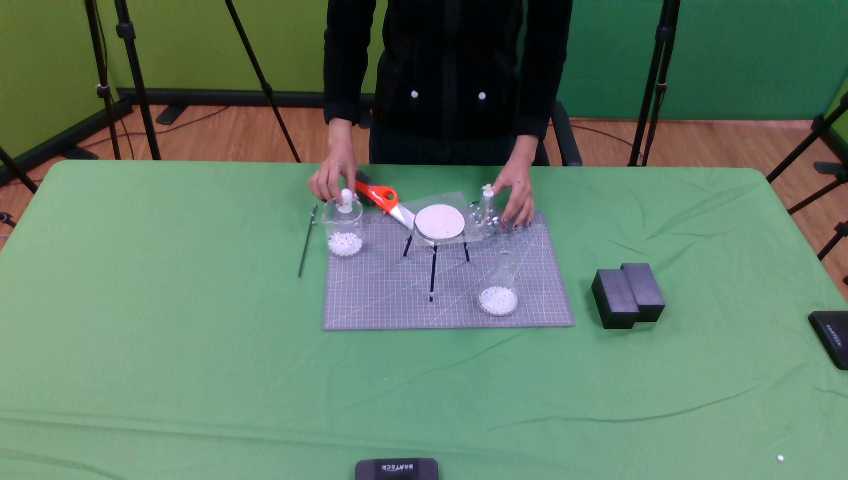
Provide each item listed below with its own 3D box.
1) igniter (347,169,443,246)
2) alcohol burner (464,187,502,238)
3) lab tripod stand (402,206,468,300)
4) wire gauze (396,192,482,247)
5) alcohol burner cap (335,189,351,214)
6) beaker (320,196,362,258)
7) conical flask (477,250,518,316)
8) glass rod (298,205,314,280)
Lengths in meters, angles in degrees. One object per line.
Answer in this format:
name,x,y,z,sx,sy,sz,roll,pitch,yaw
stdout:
igniter,-0.068,-0.071,1.258,0.275,0.025,0.057,37,70,28
alcohol burner,0.120,-0.061,1.201,0.078,0.119,0.077,3,47,-3
lab tripod stand,0.023,0.013,1.108,0.148,0.132,0.147,3,44,-2
wire gauze,0.025,-0.036,1.061,0.125,0.011,0.120,-9,47,-14
alcohol burner cap,-0.160,-0.080,1.208,0.034,0.048,0.033,5,43,-4
beaker,-0.156,-0.021,1.150,0.084,0.101,0.073,-30,55,-28
conical flask,0.136,0.072,1.067,0.075,0.122,0.075,2,46,-2
glass rod,-0.231,0.001,1.192,0.008,0.008,0.198,2,47,-2
